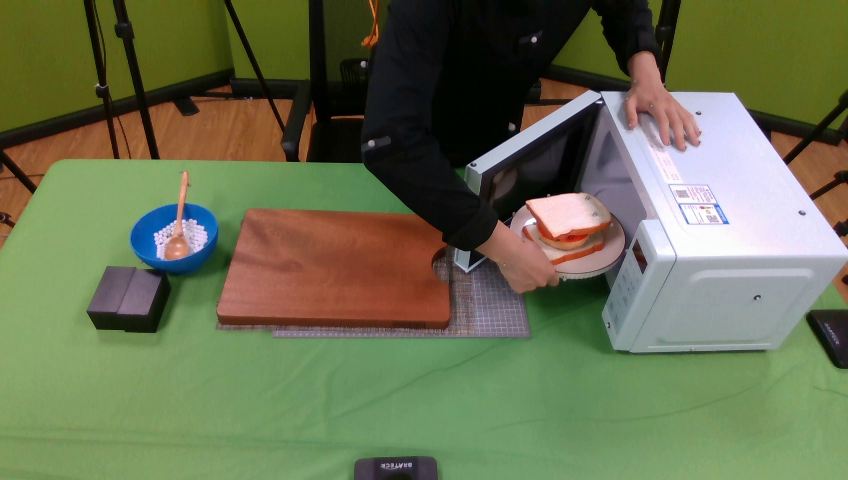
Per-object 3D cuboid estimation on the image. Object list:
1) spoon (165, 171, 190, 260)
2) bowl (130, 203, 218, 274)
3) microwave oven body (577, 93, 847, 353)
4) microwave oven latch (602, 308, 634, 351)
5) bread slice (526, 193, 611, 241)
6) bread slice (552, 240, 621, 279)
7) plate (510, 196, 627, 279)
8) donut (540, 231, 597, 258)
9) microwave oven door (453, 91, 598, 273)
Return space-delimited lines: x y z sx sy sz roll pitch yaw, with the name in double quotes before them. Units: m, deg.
"spoon" -0.452 -0.046 1.129 0.041 0.022 0.193 -1 69 -3
"bowl" -0.451 0.010 1.116 0.151 0.077 0.150 3 45 -3
"microwave oven body" 0.475 -0.041 1.109 0.326 0.261 0.438 -1 45 -4
"microwave oven latch" 0.332 0.153 1.044 0.030 0.029 0.078 -1 45 -4
"bread slice" 0.257 -0.045 1.068 0.134 0.018 0.106 -12 43 -19
"bread slice" 0.291 0.023 1.113 0.131 0.019 0.104 -11 34 6
"plate" 0.260 -0.001 1.107 0.208 0.039 0.206 -1 44 1
"donut" 0.258 -0.002 1.083 0.099 0.048 0.098 -8 25 4
"microwave oven door" 0.197 -0.115 1.153 0.356 0.245 0.039 -34 57 -31
